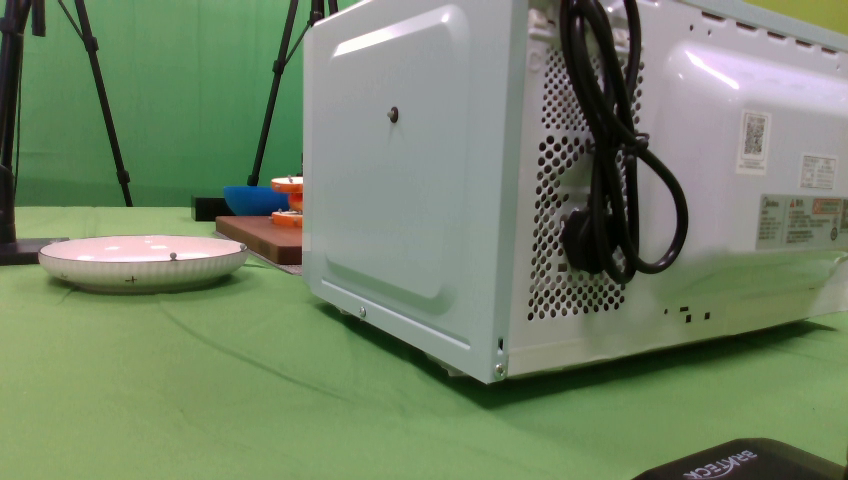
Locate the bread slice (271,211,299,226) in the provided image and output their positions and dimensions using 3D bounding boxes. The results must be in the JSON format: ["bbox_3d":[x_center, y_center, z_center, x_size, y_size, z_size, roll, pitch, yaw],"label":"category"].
[{"bbox_3d":[-0.197,-0.038,1.051,0.132,0.019,0.104,-1,7,-31],"label":"bread slice"}]

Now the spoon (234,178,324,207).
[{"bbox_3d":[-0.300,-0.103,1.266,0.194,0.021,0.041,-23,10,-24],"label":"spoon"}]

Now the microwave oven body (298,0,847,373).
[{"bbox_3d":[0.151,-0.055,0.542,0.444,0.260,0.324,-2,7,-33],"label":"microwave oven body"}]

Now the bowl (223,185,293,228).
[{"bbox_3d":[-0.330,-0.068,1.230,0.151,0.077,0.151,3,8,0],"label":"bowl"}]

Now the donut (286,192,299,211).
[{"bbox_3d":[-0.190,-0.068,1.055,0.099,0.048,0.099,4,7,0],"label":"donut"}]

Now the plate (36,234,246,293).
[{"bbox_3d":[-0.305,0.026,0.668,0.208,0.039,0.207,3,7,0],"label":"plate"}]

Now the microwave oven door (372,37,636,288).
[{"bbox_3d":[0.109,-0.080,0.686,0.358,0.243,0.039,-2,9,-33],"label":"microwave oven door"}]

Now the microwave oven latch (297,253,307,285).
[{"bbox_3d":[-0.082,0.027,0.582,0.079,0.029,0.030,-1,7,-32],"label":"microwave oven latch"}]

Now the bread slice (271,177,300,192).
[{"bbox_3d":[-0.195,-0.098,1.047,0.135,0.018,0.106,-8,13,-34],"label":"bread slice"}]
